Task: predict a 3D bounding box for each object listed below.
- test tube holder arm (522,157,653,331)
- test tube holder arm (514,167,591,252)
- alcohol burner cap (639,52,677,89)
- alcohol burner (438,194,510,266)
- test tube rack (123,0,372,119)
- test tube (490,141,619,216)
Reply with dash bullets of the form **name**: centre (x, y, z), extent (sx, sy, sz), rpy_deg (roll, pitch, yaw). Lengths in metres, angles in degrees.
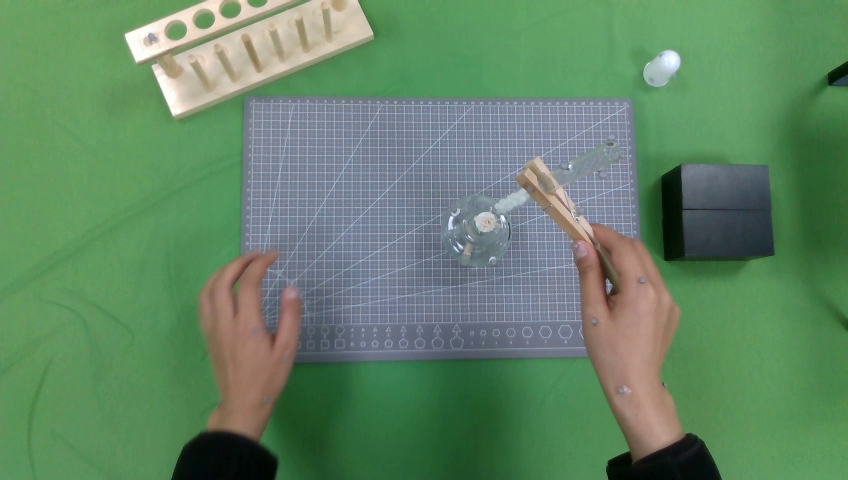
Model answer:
- **test tube holder arm**: centre (0.138, 0.006, 0.501), extent (0.013, 0.015, 0.179), rpy_deg (-45, 103, -26)
- **test tube holder arm**: centre (0.105, -0.023, 0.488), extent (0.088, 0.015, 0.010), rpy_deg (45, 65, -15)
- **alcohol burner cap**: centre (0.276, -0.200, 0.707), extent (0.034, 0.048, 0.033), rpy_deg (0, 81, -2)
- **alcohol burner**: centre (0.055, -0.012, 0.629), extent (0.078, 0.119, 0.077), rpy_deg (1, 83, -4)
- **test tube rack**: centre (-0.182, -0.221, 0.658), extent (0.242, 0.085, 0.066), rpy_deg (-25, 83, -6)
- **test tube**: centre (0.096, -0.044, 0.478), extent (0.017, 0.150, 0.017), rpy_deg (7, 74, -25)
